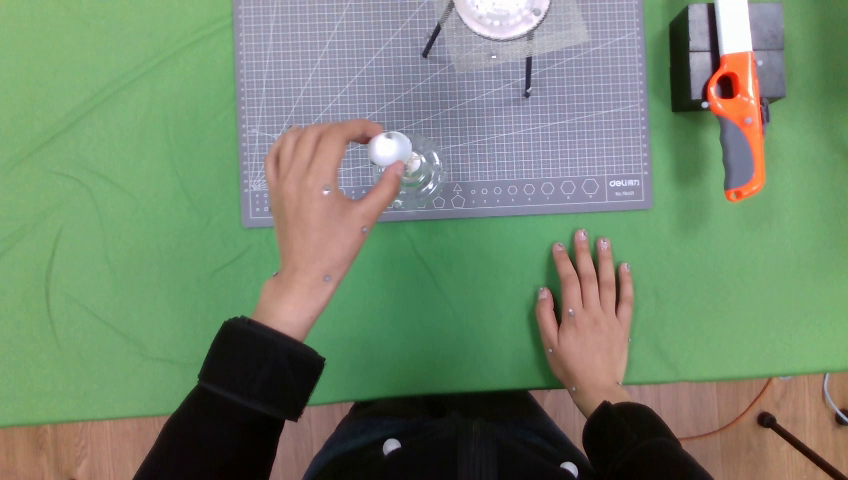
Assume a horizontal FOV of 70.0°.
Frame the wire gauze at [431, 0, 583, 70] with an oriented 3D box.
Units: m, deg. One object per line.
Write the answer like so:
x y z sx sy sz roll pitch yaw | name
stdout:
0.067 -0.221 0.535 0.125 0.011 0.121 -16 90 -4 | wire gauze

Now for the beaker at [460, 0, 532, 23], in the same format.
0.061 -0.226 0.488 0.084 0.100 0.074 -4 87 -1 | beaker

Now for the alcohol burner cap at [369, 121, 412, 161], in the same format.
-0.030 -0.082 0.509 0.034 0.048 0.034 2 105 9 | alcohol burner cap

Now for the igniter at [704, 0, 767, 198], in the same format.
0.313 -0.181 0.615 0.057 0.025 0.276 -4 89 10 | igniter

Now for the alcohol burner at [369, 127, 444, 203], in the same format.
-0.017 -0.077 0.607 0.078 0.119 0.078 0 90 -1 | alcohol burner

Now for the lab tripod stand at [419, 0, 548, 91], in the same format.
0.066 -0.226 0.601 0.148 0.131 0.148 0 87 0 | lab tripod stand
